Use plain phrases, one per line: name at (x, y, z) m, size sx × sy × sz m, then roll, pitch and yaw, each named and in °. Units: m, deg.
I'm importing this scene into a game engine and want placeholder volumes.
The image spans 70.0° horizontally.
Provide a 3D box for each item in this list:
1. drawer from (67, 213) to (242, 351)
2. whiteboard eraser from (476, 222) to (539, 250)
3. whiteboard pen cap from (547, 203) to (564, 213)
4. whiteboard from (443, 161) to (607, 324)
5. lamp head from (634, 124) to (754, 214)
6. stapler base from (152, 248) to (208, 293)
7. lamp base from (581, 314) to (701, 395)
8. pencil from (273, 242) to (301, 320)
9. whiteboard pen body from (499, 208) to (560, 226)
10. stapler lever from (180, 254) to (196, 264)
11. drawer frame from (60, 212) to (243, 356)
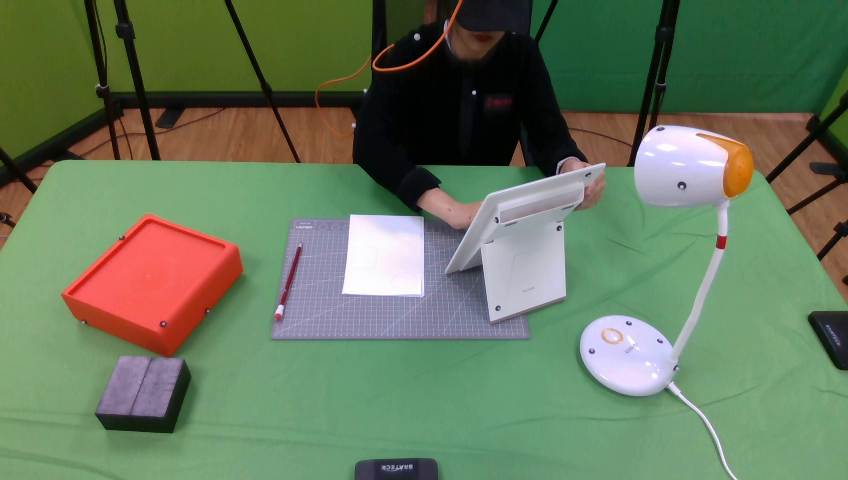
drawer at (-0.461, 0.068, 1.056) m, size 0.194 × 0.073 × 0.211 m, roll 19°, pitch 48°, yaw 13°
whiteboard eraser at (0.161, -0.007, 1.165) m, size 0.113 × 0.055 × 0.041 m, roll -10°, pitch 82°, yaw -23°
whiteboard pen cap at (0.277, -0.066, 1.275) m, size 0.033 × 0.018 × 0.018 m, roll -19°, pitch 50°, yaw -15°
whiteboard at (0.185, 0.026, 1.028) m, size 0.217 × 0.306 × 0.143 m, roll -15°, pitch 68°, yaw -18°
lamp head at (0.351, -0.089, 0.776) m, size 0.112 × 0.113 × 0.122 m, roll -30°, pitch 30°, yaw -28°
stapler base at (-0.443, 0.049, 1.101) m, size 0.130 × 0.024 × 0.041 m, roll 32°, pitch 37°, yaw 29°
lamp base at (0.361, 0.144, 0.973) m, size 0.178 × 0.181 × 0.160 m, roll 34°, pitch 53°, yaw 23°
pencil at (-0.249, 0.071, 1.115) m, size 0.012 × 0.012 × 0.193 m, roll 5°, pitch 44°, yaw 1°
whiteboard pen body at (0.221, -0.051, 1.259) m, size 0.141 × 0.017 × 0.017 m, roll -14°, pitch 49°, yaw -16°
stapler lever at (-0.440, 0.026, 1.086) m, size 0.117 × 0.040 × 0.027 m, roll 30°, pitch 36°, yaw 30°
drawer frame at (-0.462, 0.070, 1.053) m, size 0.201 × 0.083 × 0.213 m, roll 18°, pitch 48°, yaw 12°
